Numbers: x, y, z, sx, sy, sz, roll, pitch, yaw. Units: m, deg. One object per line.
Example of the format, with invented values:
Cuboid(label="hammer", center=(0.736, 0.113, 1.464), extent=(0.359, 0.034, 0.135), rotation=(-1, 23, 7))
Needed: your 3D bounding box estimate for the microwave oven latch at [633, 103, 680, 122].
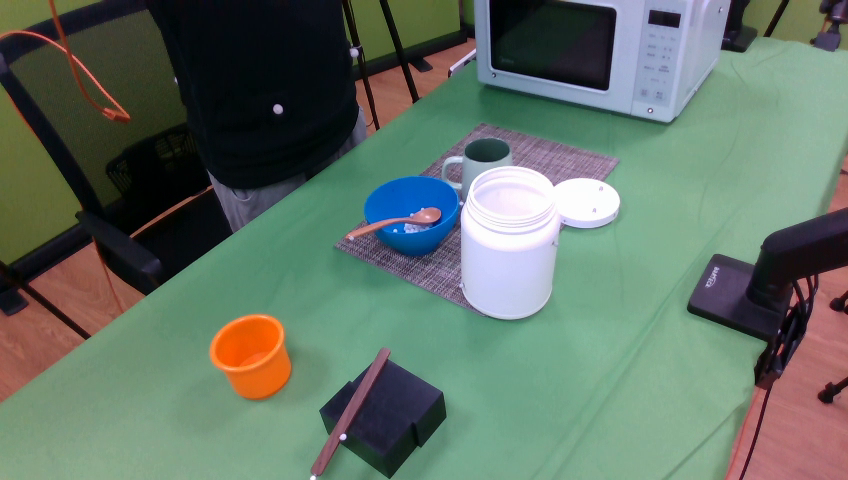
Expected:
Cuboid(label="microwave oven latch", center=(0.443, -0.249, 1.158), extent=(0.078, 0.029, 0.030), rotation=(21, 49, 30))

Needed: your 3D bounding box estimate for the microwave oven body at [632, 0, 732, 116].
Cuboid(label="microwave oven body", center=(0.377, -0.463, 1.267), extent=(0.438, 0.261, 0.327), rotation=(21, 48, 30))

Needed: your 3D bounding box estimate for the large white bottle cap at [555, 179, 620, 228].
Cuboid(label="large white bottle cap", center=(0.265, -0.062, 1.001), extent=(0.115, 0.018, 0.114), rotation=(-3, 41, 3))

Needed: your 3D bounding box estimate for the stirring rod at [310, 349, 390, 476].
Cuboid(label="stirring rod", center=(-0.081, 0.191, 0.693), extent=(0.014, 0.006, 0.176), rotation=(8, 41, 24))

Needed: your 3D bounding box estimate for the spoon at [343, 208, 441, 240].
Cuboid(label="spoon", center=(-0.046, -0.025, 0.912), extent=(0.041, 0.021, 0.195), rotation=(27, 27, 37))

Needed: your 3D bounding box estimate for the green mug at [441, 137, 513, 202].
Cuboid(label="green mug", center=(0.091, -0.107, 1.012), extent=(0.125, 0.105, 0.092), rotation=(2, 42, 11))

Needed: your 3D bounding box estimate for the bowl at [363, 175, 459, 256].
Cuboid(label="bowl", center=(-0.016, -0.028, 0.955), extent=(0.151, 0.077, 0.150), rotation=(-4, 40, 4))

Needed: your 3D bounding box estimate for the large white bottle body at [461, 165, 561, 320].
Cuboid(label="large white bottle body", center=(0.115, 0.004, 0.816), extent=(0.130, 0.185, 0.130), rotation=(-2, 43, 2))

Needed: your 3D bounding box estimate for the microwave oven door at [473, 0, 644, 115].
Cuboid(label="microwave oven door", center=(0.257, -0.396, 1.199), extent=(0.353, 0.245, 0.039), rotation=(21, 48, 29))
